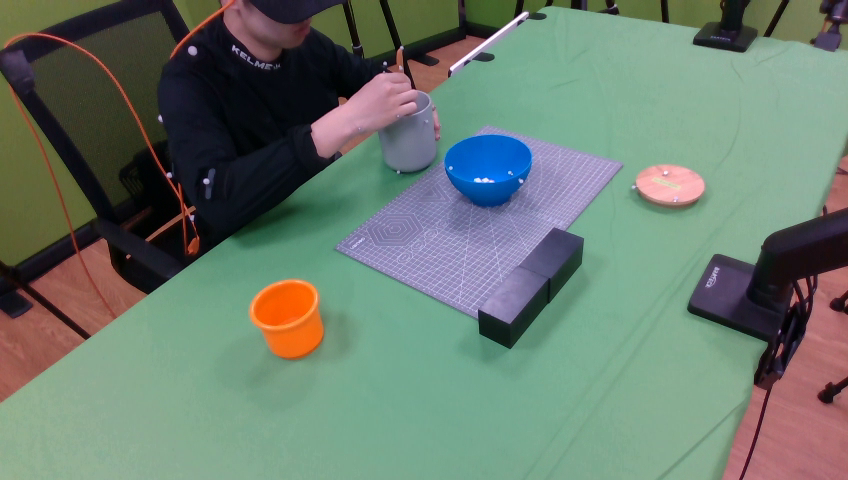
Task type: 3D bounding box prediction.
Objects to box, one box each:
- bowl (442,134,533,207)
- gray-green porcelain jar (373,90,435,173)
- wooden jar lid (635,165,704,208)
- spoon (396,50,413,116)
[{"bbox_3d":[0.110,-0.109,1.033,0.151,0.077,0.150,-4,41,4],"label":"bowl"},{"bbox_3d":[-0.034,-0.198,1.125,0.106,0.127,0.105,-4,41,4],"label":"gray-green porcelain jar"},{"bbox_3d":[0.411,-0.089,1.014,0.108,0.021,0.108,-5,42,5],"label":"wooden jar lid"},{"bbox_3d":[-0.034,-0.248,1.069,0.021,0.195,0.042,22,56,29],"label":"spoon"}]
